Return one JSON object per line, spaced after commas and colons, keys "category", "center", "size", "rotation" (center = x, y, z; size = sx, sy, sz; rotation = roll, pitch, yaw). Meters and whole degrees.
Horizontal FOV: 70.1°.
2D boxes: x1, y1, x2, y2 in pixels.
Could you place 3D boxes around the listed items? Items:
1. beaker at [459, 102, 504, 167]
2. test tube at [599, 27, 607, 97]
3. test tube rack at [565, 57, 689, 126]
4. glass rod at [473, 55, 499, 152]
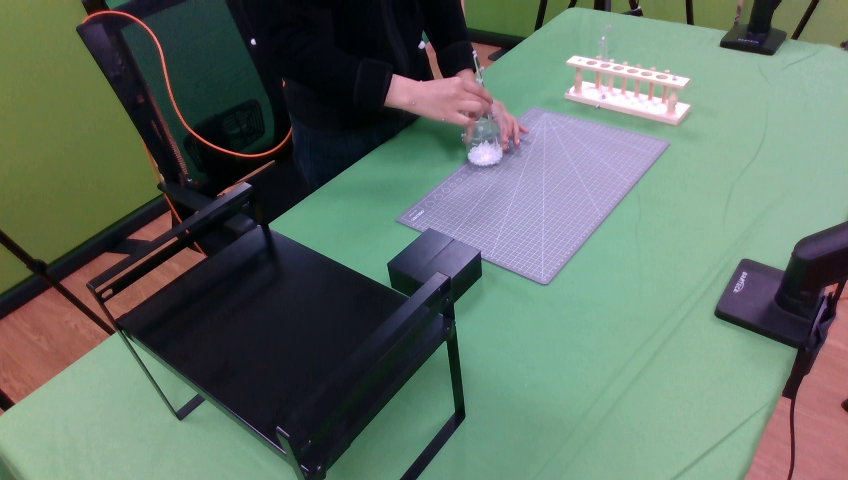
{"category": "beaker", "center": [0.108, -0.194, 1.120], "size": [0.083, 0.101, 0.074], "rotation": [7, 42, 19]}
{"category": "test tube", "center": [0.358, -0.353, 1.210], "size": [0.017, 0.151, 0.017], "rotation": [-8, 44, 8]}
{"category": "test tube rack", "center": [0.411, -0.311, 1.230], "size": [0.240, 0.085, 0.067], "rotation": [23, 49, 32]}
{"category": "glass rod", "center": [0.111, -0.236, 1.069], "size": [0.008, 0.201, 0.008], "rotation": [-12, 43, 11]}
